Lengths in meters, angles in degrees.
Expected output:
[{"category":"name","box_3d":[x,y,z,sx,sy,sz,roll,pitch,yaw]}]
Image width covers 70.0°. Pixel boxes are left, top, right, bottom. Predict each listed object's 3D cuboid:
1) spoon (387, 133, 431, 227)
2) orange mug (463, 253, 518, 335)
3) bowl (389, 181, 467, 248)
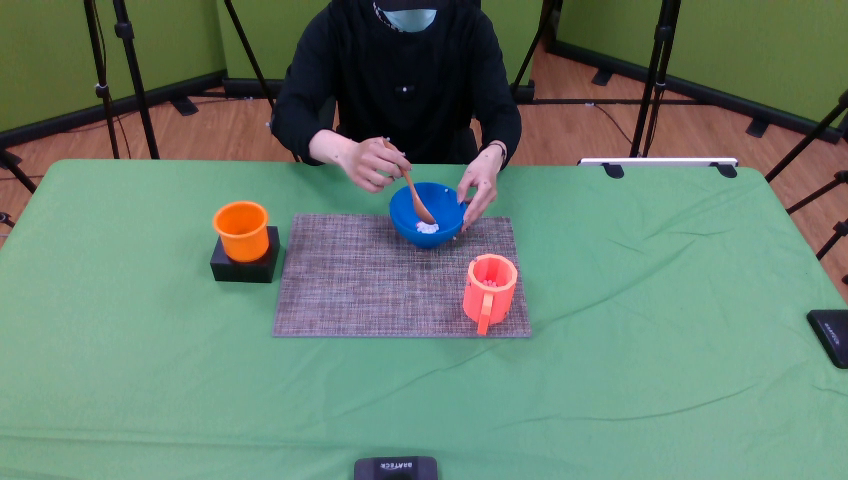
[{"category":"spoon","box_3d":[-0.028,-0.109,1.124,0.021,0.194,0.041,5,36,39]},{"category":"orange mug","box_3d":[0.113,0.098,1.050,0.083,0.101,0.125,10,42,6]},{"category":"bowl","box_3d":[0.006,-0.038,1.188,0.151,0.077,0.150,2,45,-2]}]
